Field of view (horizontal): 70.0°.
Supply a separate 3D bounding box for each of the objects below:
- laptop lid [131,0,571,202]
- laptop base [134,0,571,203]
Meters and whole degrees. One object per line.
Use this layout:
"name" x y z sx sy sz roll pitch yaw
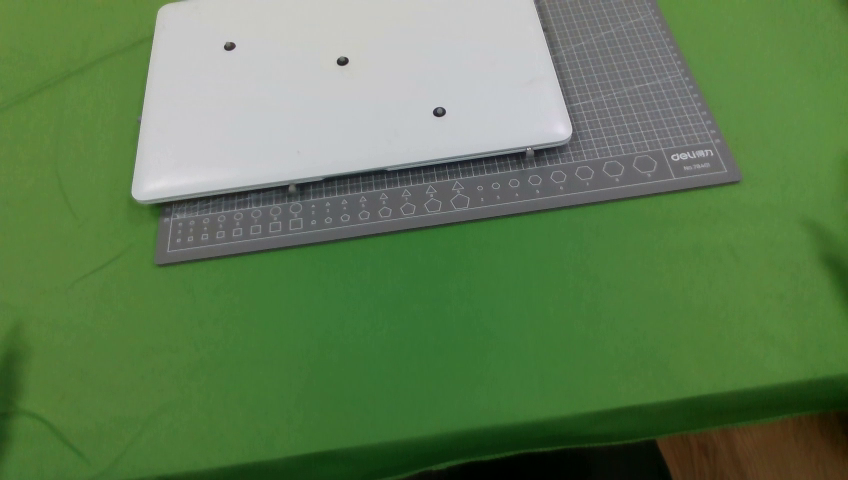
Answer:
"laptop lid" -0.070 -0.154 0.527 0.357 0.013 0.239 -7 61 1
"laptop base" -0.069 -0.150 0.539 0.354 0.023 0.233 -8 62 0
